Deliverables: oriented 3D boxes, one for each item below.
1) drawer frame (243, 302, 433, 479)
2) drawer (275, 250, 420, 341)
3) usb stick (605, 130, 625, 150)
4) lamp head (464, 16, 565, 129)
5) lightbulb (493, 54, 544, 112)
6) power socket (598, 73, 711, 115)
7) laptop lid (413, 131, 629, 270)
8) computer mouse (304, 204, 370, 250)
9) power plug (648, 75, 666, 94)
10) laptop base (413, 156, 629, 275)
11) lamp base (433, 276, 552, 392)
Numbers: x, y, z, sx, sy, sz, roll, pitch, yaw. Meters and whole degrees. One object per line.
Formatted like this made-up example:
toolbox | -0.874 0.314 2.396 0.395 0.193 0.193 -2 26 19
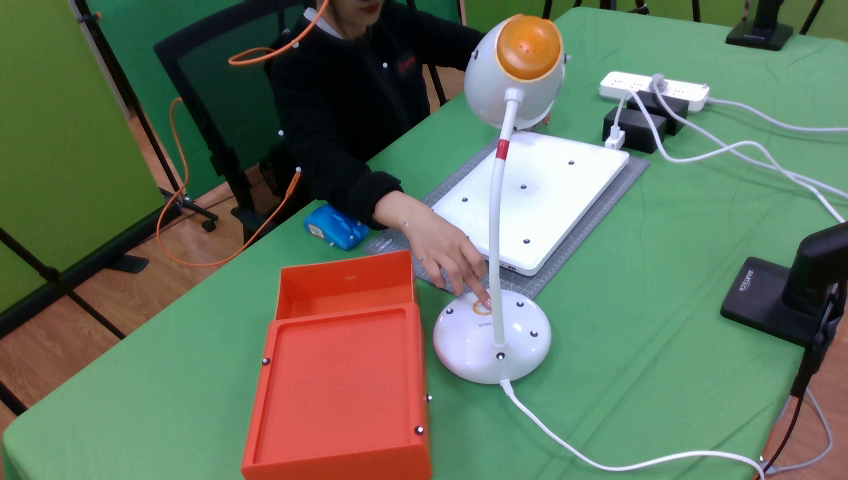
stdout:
drawer frame | -0.096 0.185 0.738 0.202 0.083 0.212 -8 40 1
drawer | -0.104 0.117 0.825 0.194 0.073 0.210 -8 40 1
usb stick | 0.348 -0.175 1.110 0.021 0.027 0.059 19 52 29
lamp head | 0.101 -0.184 0.655 0.112 0.112 0.123 -9 0 0
lightbulb | 0.109 -0.181 0.679 0.059 0.059 0.107 -10 -3 0
power socket | 0.470 -0.304 1.249 0.225 0.033 0.072 20 49 30
laptop lid | 0.172 -0.087 1.042 0.239 0.013 0.357 21 48 34
computer mouse | -0.150 -0.025 1.038 0.116 0.041 0.063 28 49 32
power plug | 0.457 -0.301 1.212 0.073 0.053 0.035 -36 46 -28
laptop base | 0.175 -0.078 1.047 0.233 0.023 0.355 18 47 35
lamp base | 0.085 0.075 0.756 0.161 0.181 0.178 -14 44 -5
